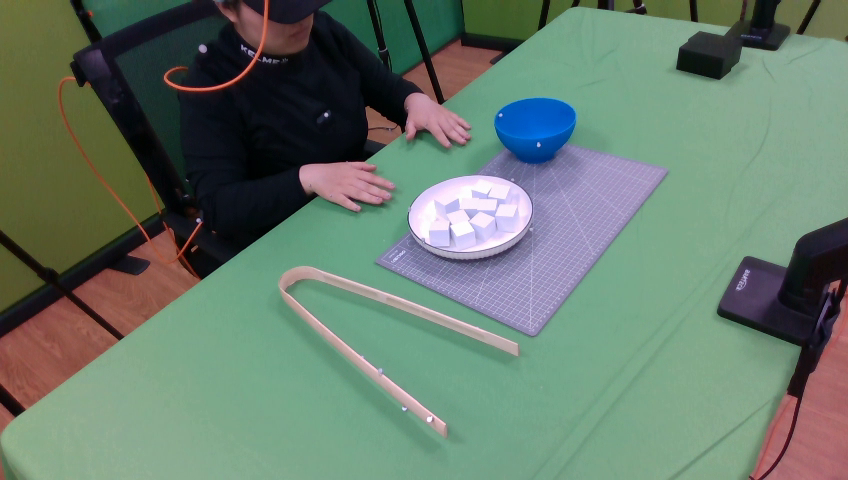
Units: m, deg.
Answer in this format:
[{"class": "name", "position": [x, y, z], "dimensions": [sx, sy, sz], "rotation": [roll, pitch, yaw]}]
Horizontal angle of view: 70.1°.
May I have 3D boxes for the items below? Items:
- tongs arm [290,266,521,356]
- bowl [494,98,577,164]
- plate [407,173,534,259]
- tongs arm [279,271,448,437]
[{"class": "tongs arm", "position": [-0.039, 0.097, 0.871], "dimensions": [0.385, 0.028, 0.028], "rotation": [16, 49, 28]}, {"class": "bowl", "position": [0.207, -0.196, 1.128], "dimensions": [0.151, 0.077, 0.150], "rotation": [-5, 40, 5]}, {"class": "plate", "position": [0.076, -0.037, 0.997], "dimensions": [0.207, 0.039, 0.206], "rotation": [-5, 40, 5]}, {"class": "tongs arm", "position": [-0.092, 0.140, 0.825], "dimensions": [0.381, 0.026, 0.051], "rotation": [28, 52, 37]}]
